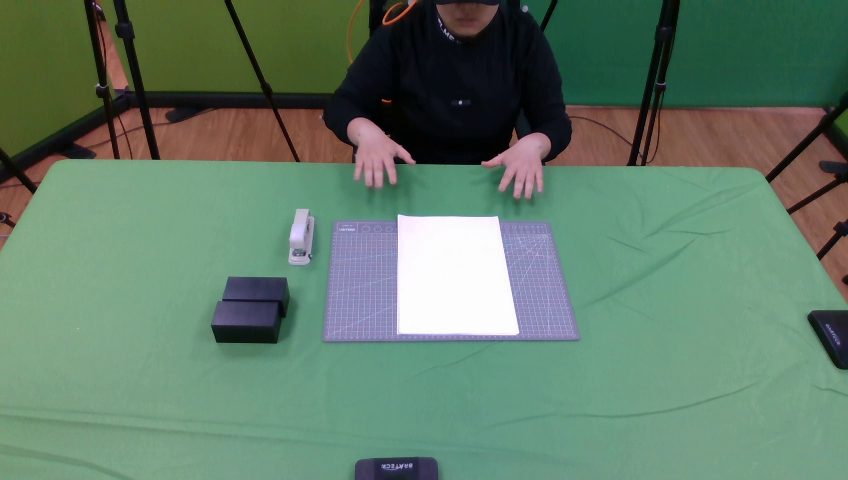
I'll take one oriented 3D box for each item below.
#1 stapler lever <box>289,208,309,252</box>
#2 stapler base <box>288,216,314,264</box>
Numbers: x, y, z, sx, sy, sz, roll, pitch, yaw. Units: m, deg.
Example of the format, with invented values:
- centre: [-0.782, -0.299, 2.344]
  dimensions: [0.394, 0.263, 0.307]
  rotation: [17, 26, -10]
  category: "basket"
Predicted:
- centre: [-0.240, -0.026, 1.168]
  dimensions: [0.027, 0.040, 0.117]
  rotation: [1, 44, -5]
  category: "stapler lever"
- centre: [-0.241, -0.007, 1.184]
  dimensions: [0.041, 0.024, 0.129]
  rotation: [1, 44, -6]
  category: "stapler base"
